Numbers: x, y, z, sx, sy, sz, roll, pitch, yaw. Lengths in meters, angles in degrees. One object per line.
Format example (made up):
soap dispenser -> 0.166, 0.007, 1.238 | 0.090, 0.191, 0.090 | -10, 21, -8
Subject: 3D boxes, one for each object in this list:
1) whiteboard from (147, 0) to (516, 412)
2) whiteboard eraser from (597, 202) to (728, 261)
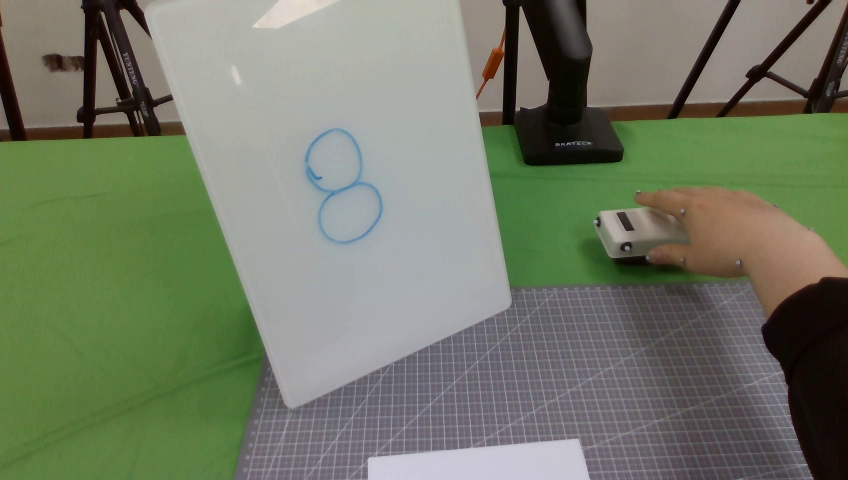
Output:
whiteboard -> -0.070, -0.057, 0.512 | 0.217, 0.307, 0.142 | -21, 24, -20
whiteboard eraser -> 0.233, -0.007, 0.599 | 0.113, 0.042, 0.055 | -3, 42, -3
